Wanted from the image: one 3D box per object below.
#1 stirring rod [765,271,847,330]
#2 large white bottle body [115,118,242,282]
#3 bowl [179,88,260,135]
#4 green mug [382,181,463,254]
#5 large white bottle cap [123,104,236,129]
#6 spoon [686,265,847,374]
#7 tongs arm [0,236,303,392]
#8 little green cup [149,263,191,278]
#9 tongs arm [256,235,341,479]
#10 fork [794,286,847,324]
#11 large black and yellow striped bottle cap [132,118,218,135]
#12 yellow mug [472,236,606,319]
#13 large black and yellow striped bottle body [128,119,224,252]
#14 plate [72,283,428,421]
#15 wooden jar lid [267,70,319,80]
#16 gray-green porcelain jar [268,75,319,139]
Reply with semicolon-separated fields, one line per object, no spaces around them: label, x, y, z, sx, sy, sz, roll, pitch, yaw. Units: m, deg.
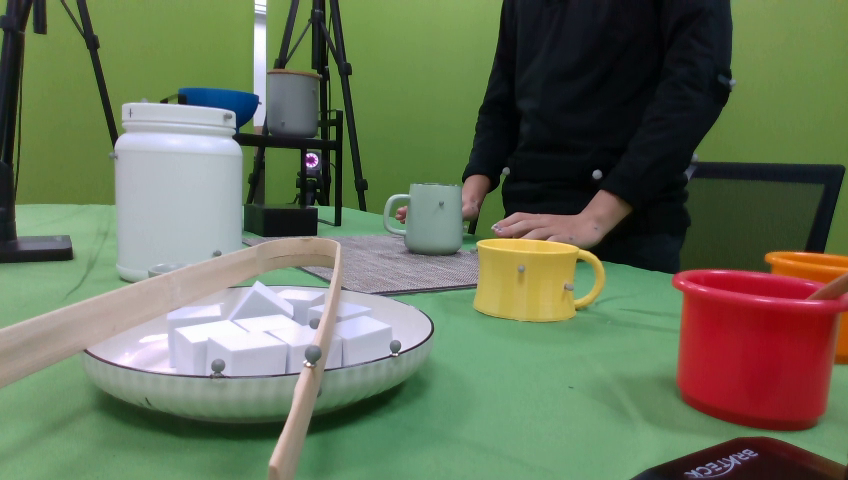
stirring rod;0.352;0.020;0.481;0.176;0.006;0.014;-40;-8;17
large white bottle body;-0.270;-0.051;0.673;0.131;0.184;0.130;2;8;0
bowl;-0.400;-0.248;1.188;0.151;0.077;0.151;2;6;0
green mug;-0.001;-0.036;0.922;0.126;0.105;0.092;0;8;-16
large white bottle cap;-0.266;-0.134;0.663;0.115;0.018;0.115;3;7;0
spoon;0.214;0.032;0.327;0.042;0.021;0.193;-2;-35;-26
tongs arm;-0.158;0.037;0.351;0.028;0.028;0.388;-3;8;12
little green cup;-0.207;0.043;0.531;0.061;0.038;0.061;3;6;0
tongs arm;-0.074;0.039;0.349;0.051;0.026;0.384;-1;9;-2
fork;0.332;0.019;0.443;0.028;0.018;0.207;-3;-35;-16
large black and yellow striped bottle cap;-0.359;-0.164;0.875;0.115;0.019;0.115;2;6;0
yellow mug;0.114;0.034;0.590;0.131;0.064;0.100;2;6;-7
large black and yellow striped bottle body;-0.361;-0.081;0.887;0.131;0.184;0.130;2;8;0
plate;-0.102;0.066;0.381;0.208;0.039;0.207;2;7;0
wooden jar lid;-0.275;-0.339;1.271;0.108;0.020;0.108;5;6;0
gray-green porcelain jar;-0.277;-0.279;1.280;0.106;0.126;0.106;2;8;0
